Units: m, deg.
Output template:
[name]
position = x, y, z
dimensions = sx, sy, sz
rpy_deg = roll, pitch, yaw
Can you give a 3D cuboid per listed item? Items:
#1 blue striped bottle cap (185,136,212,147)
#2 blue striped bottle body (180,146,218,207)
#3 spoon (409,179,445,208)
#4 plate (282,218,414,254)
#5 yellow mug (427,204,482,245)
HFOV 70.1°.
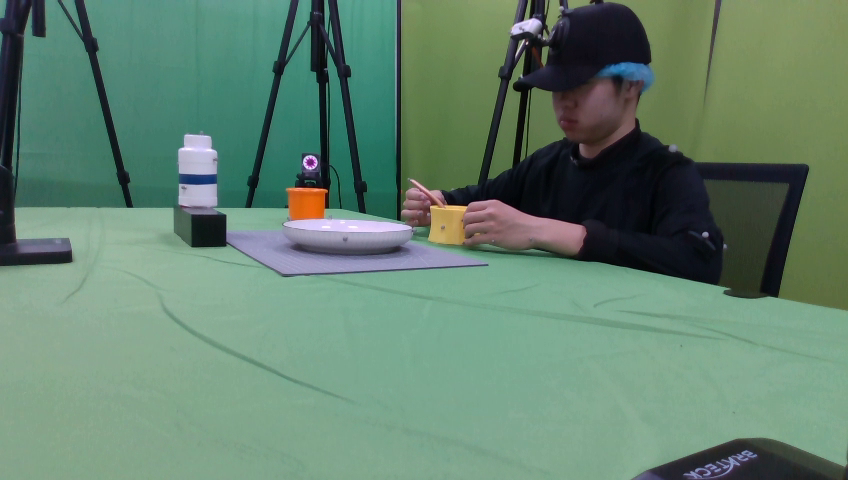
[blue striped bottle cap]
position = -0.390, -0.169, 1.047
dimensions = 0.044, 0.020, 0.044
rpy_deg = 4, 10, 0
[blue striped bottle body]
position = -0.392, -0.118, 1.053
dimensions = 0.063, 0.120, 0.063
rpy_deg = 2, 8, 0
[spoon]
position = 0.027, -0.066, 1.154
dimensions = 0.042, 0.021, 0.193
rpy_deg = 2, 37, -43
[plate]
position = -0.121, -0.007, 0.971
dimensions = 0.208, 0.039, 0.207
rpy_deg = 2, 7, 0
[yellow mug]
position = 0.063, -0.028, 1.111
dimensions = 0.100, 0.064, 0.130
rpy_deg = 0, 9, -21
